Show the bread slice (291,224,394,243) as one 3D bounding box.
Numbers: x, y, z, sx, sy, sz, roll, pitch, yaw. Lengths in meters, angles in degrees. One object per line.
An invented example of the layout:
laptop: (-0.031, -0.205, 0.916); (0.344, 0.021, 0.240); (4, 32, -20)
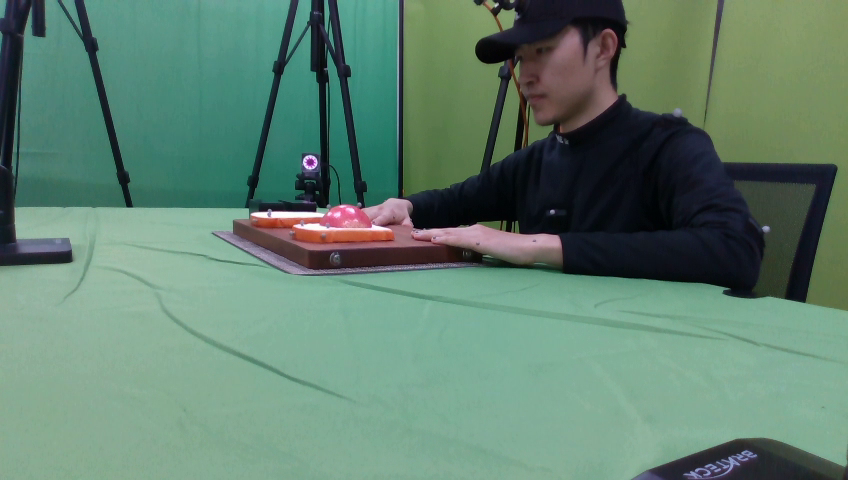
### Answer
bread slice: (-0.122, -0.011, 0.869); (0.132, 0.019, 0.104); (-1, 7, -32)

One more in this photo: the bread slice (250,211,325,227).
bread slice: (-0.223, -0.035, 1.021); (0.135, 0.018, 0.106); (-3, 9, -33)

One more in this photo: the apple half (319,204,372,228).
apple half: (-0.112, -0.035, 0.877); (0.081, 0.033, 0.081); (1, 6, 0)
